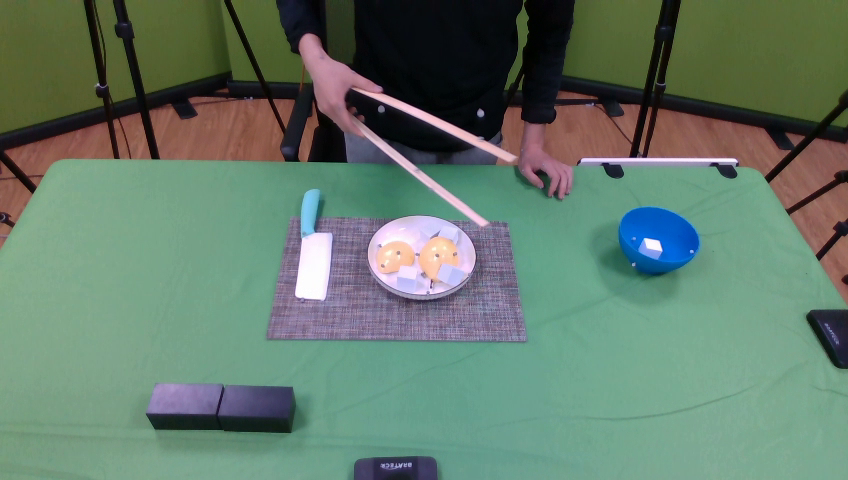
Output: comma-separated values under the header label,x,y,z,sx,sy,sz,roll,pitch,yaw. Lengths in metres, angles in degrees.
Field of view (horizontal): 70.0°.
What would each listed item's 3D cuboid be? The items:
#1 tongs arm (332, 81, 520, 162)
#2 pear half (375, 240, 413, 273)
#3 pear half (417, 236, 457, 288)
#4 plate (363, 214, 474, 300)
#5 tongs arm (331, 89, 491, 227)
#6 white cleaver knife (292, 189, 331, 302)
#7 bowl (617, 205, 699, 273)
label,x,y,z,sx,sy,sz,roll,pitch,yaw
tongs arm,-0.005,-0.211,1.061,0.386,0.028,0.028,28,42,22
pear half,-0.059,0.026,1.145,0.070,0.031,0.088,22,43,21
pear half,0.022,0.039,1.127,0.076,0.056,0.109,5,50,7
plate,-0.010,0.036,1.146,0.208,0.039,0.206,2,46,-2
tongs arm,-0.026,-0.155,1.106,0.383,0.051,0.026,37,41,16
white cleaver knife,-0.215,0.006,1.178,0.066,0.021,0.284,5,49,-12
bowl,0.444,0.011,1.182,0.151,0.077,0.150,2,46,-2
